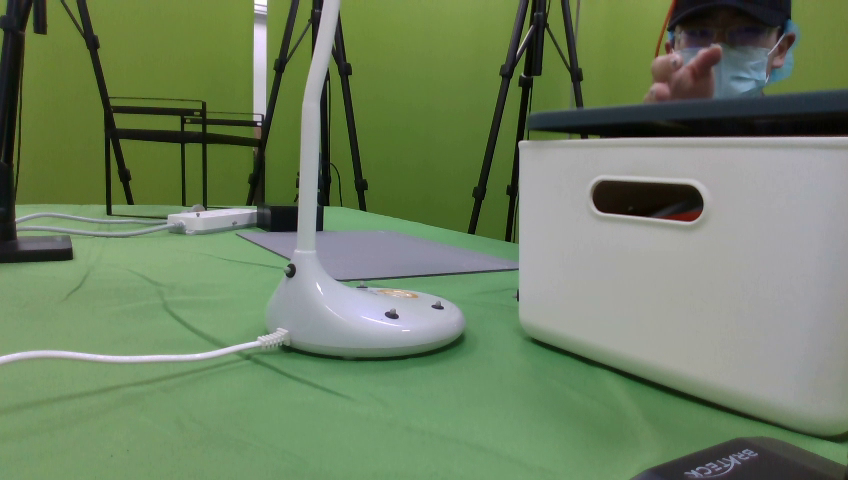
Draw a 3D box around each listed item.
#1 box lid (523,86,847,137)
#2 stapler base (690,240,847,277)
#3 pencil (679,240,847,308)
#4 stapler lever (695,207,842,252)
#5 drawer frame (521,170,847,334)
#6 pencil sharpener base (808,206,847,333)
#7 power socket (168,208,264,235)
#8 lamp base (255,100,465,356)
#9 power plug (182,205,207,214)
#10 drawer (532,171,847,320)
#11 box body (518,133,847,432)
[{"bbox_3d":[0.286,-0.091,0.483,0.373,0.015,0.262,-6,10,-42],"label":"box lid"},{"bbox_3d":[0.271,0.014,0.487,0.041,0.024,0.130,-14,4,-19],"label":"stapler base"},{"bbox_3d":[0.249,0.019,0.464,0.012,0.012,0.193,1,11,-9],"label":"pencil"},{"bbox_3d":[0.268,-0.010,0.485,0.027,0.040,0.117,-14,3,-19],"label":"stapler lever"},{"bbox_3d":[0.223,0.004,0.464,0.215,0.082,0.200,-12,2,-36],"label":"drawer frame"},{"bbox_3d":[0.385,0.027,0.519,0.062,0.107,0.076,-5,10,-45],"label":"pencil sharpener base"},{"bbox_3d":[-0.381,-0.038,1.129,0.072,0.032,0.227,4,8,17],"label":"power socket"},{"bbox_3d":[-0.051,-0.014,0.466,0.160,0.180,0.180,7,11,33],"label":"lamp base"},{"bbox_3d":[-0.456,-0.041,1.195,0.052,0.035,0.072,0,39,24],"label":"power plug"},{"bbox_3d":[0.226,0.005,0.468,0.213,0.073,0.193,-14,3,-36],"label":"drawer"},{"bbox_3d":[0.278,0.005,0.486,0.366,0.160,0.253,-3,9,-36],"label":"box body"}]
